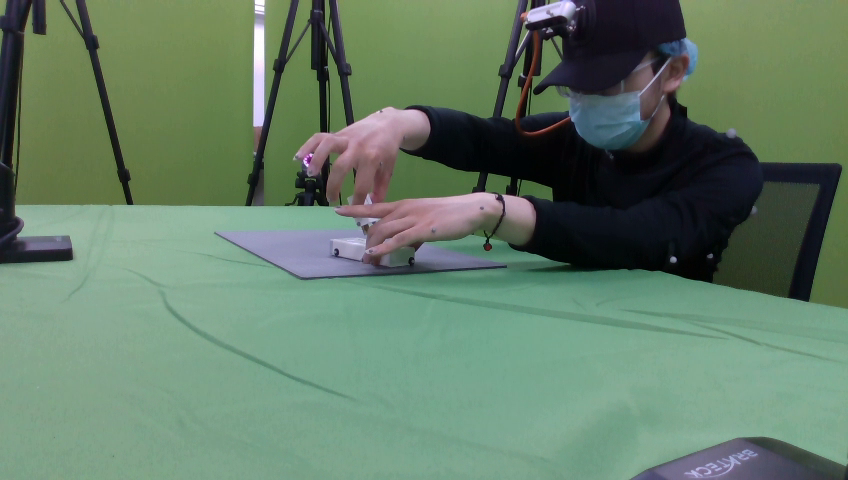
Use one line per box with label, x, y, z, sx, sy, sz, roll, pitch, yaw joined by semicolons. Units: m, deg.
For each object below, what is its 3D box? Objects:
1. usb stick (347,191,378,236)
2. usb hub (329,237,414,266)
usb stick;-0.082;-0.036;0.823;0.027;0.059;0.021;-17;0;31
usb hub;-0.075;0.015;0.833;0.124;0.025;0.050;8;9;42
